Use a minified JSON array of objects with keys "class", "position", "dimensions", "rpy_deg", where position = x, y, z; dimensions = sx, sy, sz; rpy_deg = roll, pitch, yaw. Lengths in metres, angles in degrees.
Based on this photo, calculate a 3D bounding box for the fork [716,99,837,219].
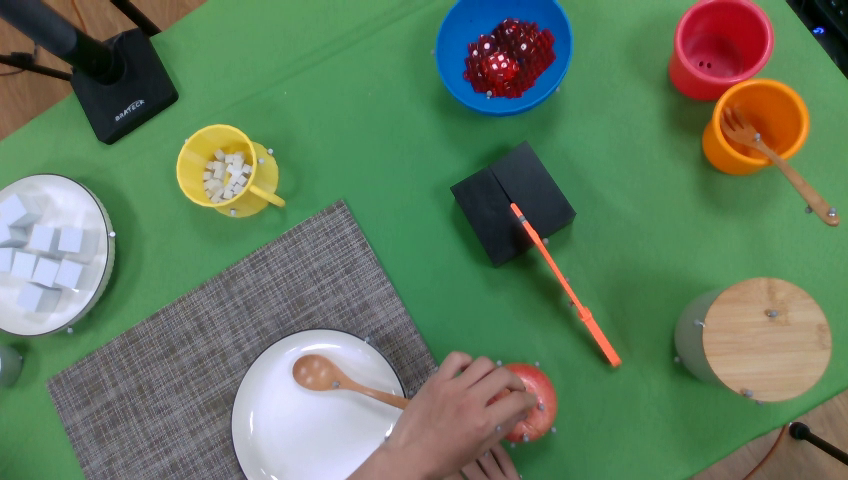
[{"class":"fork","position":[0.344,-0.087,0.601],"dimensions":[0.028,0.019,0.205],"rpy_deg":[-12,38,4]}]

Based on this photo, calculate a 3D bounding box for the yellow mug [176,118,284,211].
[{"class":"yellow mug","position":[-0.226,-0.082,0.734],"dimensions":[0.130,0.064,0.100],"rpy_deg":[30,88,10]}]

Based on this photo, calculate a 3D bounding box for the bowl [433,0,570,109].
[{"class":"bowl","position":[0.089,-0.213,0.693],"dimensions":[0.151,0.077,0.151],"rpy_deg":[-1,84,9]}]

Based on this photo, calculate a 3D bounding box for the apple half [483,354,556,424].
[{"class":"apple half","position":[0.109,0.152,0.650],"dimensions":[0.080,0.075,0.053],"rpy_deg":[33,86,15]}]

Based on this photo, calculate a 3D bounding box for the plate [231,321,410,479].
[{"class":"plate","position":[-0.117,0.197,0.694],"dimensions":[0.209,0.038,0.208],"rpy_deg":[-1,83,9]}]

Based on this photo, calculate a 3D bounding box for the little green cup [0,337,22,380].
[{"class":"little green cup","position":[-0.549,0.152,0.771],"dimensions":[0.061,0.039,0.061],"rpy_deg":[-1,83,7]}]

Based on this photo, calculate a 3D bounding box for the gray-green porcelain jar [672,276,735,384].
[{"class":"gray-green porcelain jar","position":[0.309,0.088,0.598],"dimensions":[0.105,0.127,0.105],"rpy_deg":[-1,82,9]}]

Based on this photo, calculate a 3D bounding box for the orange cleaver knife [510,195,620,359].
[{"class":"orange cleaver knife","position":[0.151,0.041,0.647],"dimensions":[0.012,0.076,0.213],"rpy_deg":[-33,112,8]}]

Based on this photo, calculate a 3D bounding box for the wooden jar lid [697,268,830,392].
[{"class":"wooden jar lid","position":[0.298,0.079,0.537],"dimensions":[0.108,0.021,0.108],"rpy_deg":[-1,85,8]}]

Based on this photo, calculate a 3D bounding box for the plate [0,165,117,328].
[{"class":"plate","position":[-0.486,0.008,0.780],"dimensions":[0.207,0.039,0.207],"rpy_deg":[-1,83,9]}]

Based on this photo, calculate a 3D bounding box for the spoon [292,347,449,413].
[{"class":"spoon","position":[-0.063,0.161,0.676],"dimensions":[0.192,0.022,0.041],"rpy_deg":[13,73,23]}]

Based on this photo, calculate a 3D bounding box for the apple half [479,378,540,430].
[{"class":"apple half","position":[0.088,0.181,0.648],"dimensions":[0.081,0.081,0.033],"rpy_deg":[31,92,12]}]
